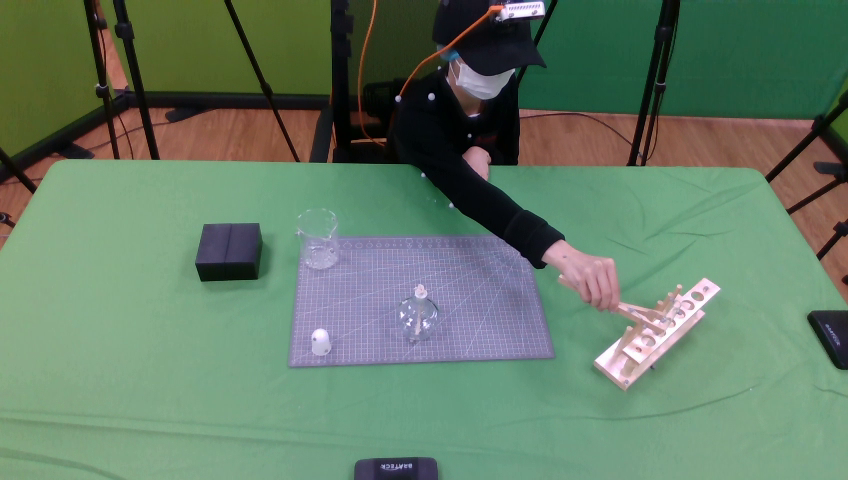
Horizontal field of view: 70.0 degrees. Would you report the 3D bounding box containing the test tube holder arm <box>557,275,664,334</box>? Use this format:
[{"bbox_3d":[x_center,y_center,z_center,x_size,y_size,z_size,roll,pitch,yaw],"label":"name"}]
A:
[{"bbox_3d":[0.296,0.101,0.971,0.178,0.015,0.013,26,45,15],"label":"test tube holder arm"}]

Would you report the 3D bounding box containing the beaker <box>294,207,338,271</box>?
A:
[{"bbox_3d":[-0.196,0.003,1.123,0.074,0.101,0.083,-23,53,-24],"label":"beaker"}]

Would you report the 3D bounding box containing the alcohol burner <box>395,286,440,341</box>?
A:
[{"bbox_3d":[-0.010,0.116,1.018,0.078,0.119,0.077,3,47,-3],"label":"alcohol burner"}]

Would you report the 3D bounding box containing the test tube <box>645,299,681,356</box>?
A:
[{"bbox_3d":[0.380,0.144,0.975,0.017,0.151,0.017,1,49,-1],"label":"test tube"}]

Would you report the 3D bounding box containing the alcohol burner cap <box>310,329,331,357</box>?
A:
[{"bbox_3d":[-0.173,0.168,1.005,0.034,0.048,0.033,2,46,-2],"label":"alcohol burner cap"}]

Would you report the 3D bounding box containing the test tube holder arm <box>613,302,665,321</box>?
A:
[{"bbox_3d":[0.339,0.113,0.968,0.088,0.015,0.010,11,44,-1],"label":"test tube holder arm"}]

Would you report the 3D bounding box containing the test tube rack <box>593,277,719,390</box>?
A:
[{"bbox_3d":[0.401,0.148,1.043,0.242,0.085,0.066,-30,55,-29],"label":"test tube rack"}]
